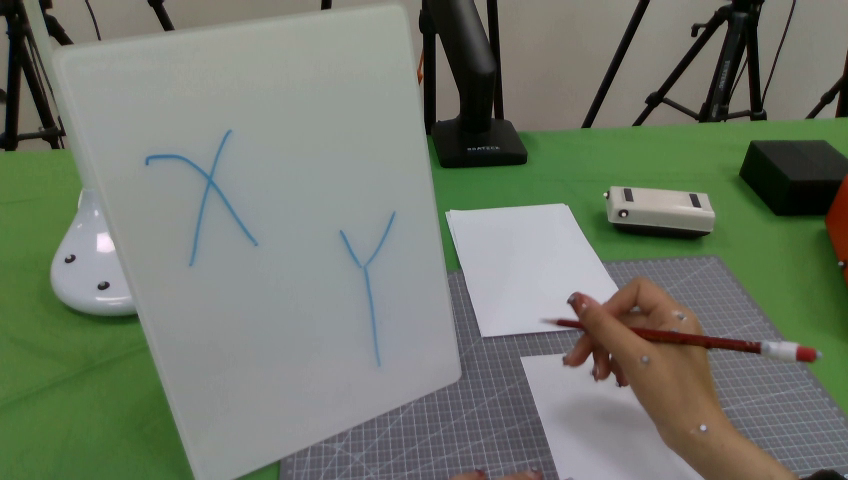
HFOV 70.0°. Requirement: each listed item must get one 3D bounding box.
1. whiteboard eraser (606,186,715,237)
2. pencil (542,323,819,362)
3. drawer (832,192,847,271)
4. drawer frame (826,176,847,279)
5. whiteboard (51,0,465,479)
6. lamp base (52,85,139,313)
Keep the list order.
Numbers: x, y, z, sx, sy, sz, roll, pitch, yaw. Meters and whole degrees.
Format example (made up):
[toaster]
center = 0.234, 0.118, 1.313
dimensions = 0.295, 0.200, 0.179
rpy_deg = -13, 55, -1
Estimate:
[whiteboard eraser]
center = 0.269, -0.032, 0.695
dimensions = 0.112, 0.042, 0.055
rpy_deg = 6, 38, 6
[pencil]
center = 0.164, 0.069, 0.425
dimensions = 0.193, 0.012, 0.012
rpy_deg = -1, 26, 45
[drawer]
center = 0.527, 0.033, 0.582
dimensions = 0.194, 0.074, 0.210
rpy_deg = 11, 37, 14
[drawer frame]
center = 0.528, 0.030, 0.584
dimensions = 0.201, 0.083, 0.212
rpy_deg = 10, 37, 13
[whiteboard]
center = -0.112, -0.007, 0.474
dimensions = 0.218, 0.307, 0.142
rpy_deg = -17, 21, -22
[lamp base]
center = -0.299, -0.048, 0.579
dimensions = 0.178, 0.182, 0.160
rpy_deg = 21, 41, 29
